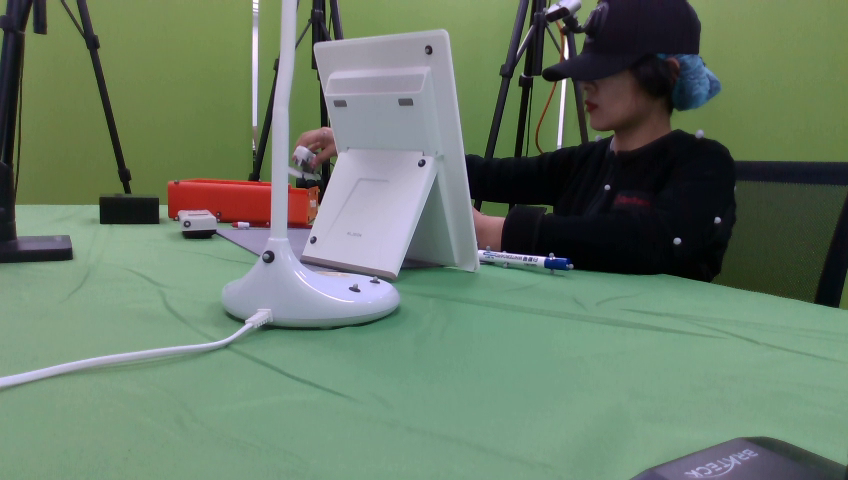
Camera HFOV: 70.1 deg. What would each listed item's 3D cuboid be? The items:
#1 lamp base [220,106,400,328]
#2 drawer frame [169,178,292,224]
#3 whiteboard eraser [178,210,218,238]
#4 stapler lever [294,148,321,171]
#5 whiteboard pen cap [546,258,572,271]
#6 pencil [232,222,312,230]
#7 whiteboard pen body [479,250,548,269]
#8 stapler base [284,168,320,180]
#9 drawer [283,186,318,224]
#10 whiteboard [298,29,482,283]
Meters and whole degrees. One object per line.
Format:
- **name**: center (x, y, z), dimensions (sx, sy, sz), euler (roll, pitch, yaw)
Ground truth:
- **lamp base**: center (-0.101, -0.023, 0.531), dimensions (0.160, 0.180, 0.179), euler (4, 10, 10)
- **drawer frame**: center (-0.406, -0.087, 1.304), dimensions (0.214, 0.082, 0.201), euler (1, 8, -5)
- **whiteboard eraser**: center (-0.380, -0.027, 1.014), dimensions (0.056, 0.042, 0.112), euler (0, 8, -25)
- **stapler lever**: center (-0.244, -0.168, 1.271), dimensions (0.027, 0.040, 0.118), euler (26, 6, 5)
- **whiteboard pen cap**: center (0.175, 0.032, 0.790), dimensions (0.033, 0.018, 0.018), euler (3, 6, 37)
- **pencil**: center (-0.261, -0.025, 1.141), dimensions (0.195, 0.012, 0.012), euler (2, 7, -26)
- **whiteboard pen body**: center (0.130, 0.028, 0.827), dimensions (0.140, 0.017, 0.017), euler (6, 8, 38)
- **stapler base**: center (-0.254, -0.144, 1.273), dimensions (0.041, 0.024, 0.130), euler (26, 7, 5)
- **drawer**: center (-0.342, -0.082, 1.309), dimensions (0.212, 0.073, 0.194), euler (1, 8, -4)
- **whiteboard**: center (-0.075, -0.082, 0.742), dimensions (0.216, 0.305, 0.144), euler (9, 29, 37)
